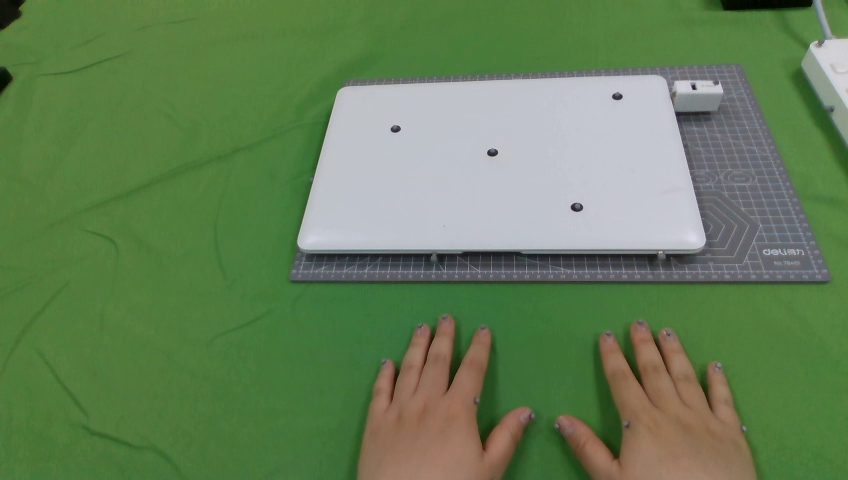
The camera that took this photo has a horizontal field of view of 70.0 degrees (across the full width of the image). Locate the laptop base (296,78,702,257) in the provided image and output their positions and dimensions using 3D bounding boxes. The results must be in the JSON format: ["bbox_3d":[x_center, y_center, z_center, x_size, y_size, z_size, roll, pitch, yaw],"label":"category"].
[{"bbox_3d":[0.067,-0.074,0.597,0.354,0.023,0.233,0,53,7],"label":"laptop base"}]

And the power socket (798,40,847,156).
[{"bbox_3d":[0.431,-0.123,0.582,0.072,0.033,0.224,0,50,5],"label":"power socket"}]

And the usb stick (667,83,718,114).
[{"bbox_3d":[0.263,-0.143,0.614,0.059,0.027,0.021,-1,49,10],"label":"usb stick"}]

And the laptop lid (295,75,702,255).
[{"bbox_3d":[0.065,-0.080,0.586,0.356,0.013,0.239,1,52,8],"label":"laptop lid"}]
